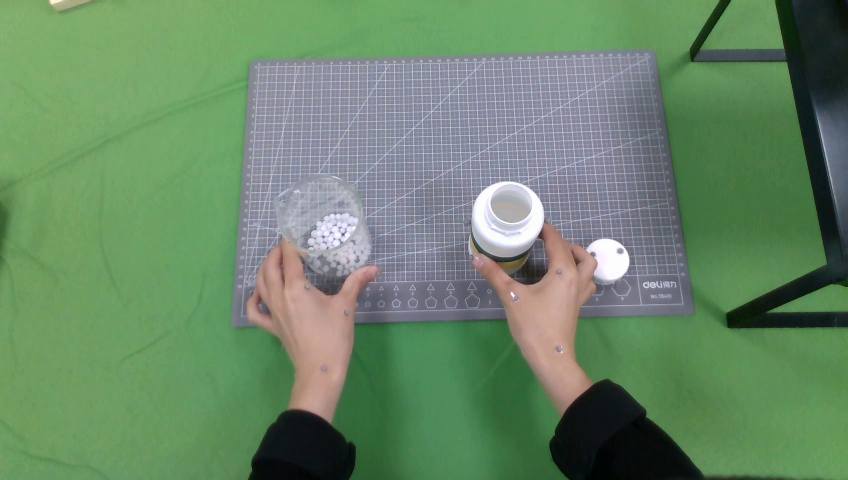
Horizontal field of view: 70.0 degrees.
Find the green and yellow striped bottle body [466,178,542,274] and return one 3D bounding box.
[{"bbox_3d":[0.072,-0.014,0.554,0.063,0.120,0.063,0,72,1],"label":"green and yellow striped bottle body"}]

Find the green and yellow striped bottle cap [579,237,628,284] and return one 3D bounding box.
[{"bbox_3d":[0.177,0.020,0.597,0.045,0.020,0.045,0,70,2],"label":"green and yellow striped bottle cap"}]

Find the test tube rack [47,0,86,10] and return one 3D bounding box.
[{"bbox_3d":[-0.332,-0.352,0.685,0.242,0.085,0.066,-22,73,-6],"label":"test tube rack"}]

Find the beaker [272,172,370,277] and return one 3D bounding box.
[{"bbox_3d":[-0.092,-0.010,0.566,0.084,0.101,0.073,18,73,7],"label":"beaker"}]
